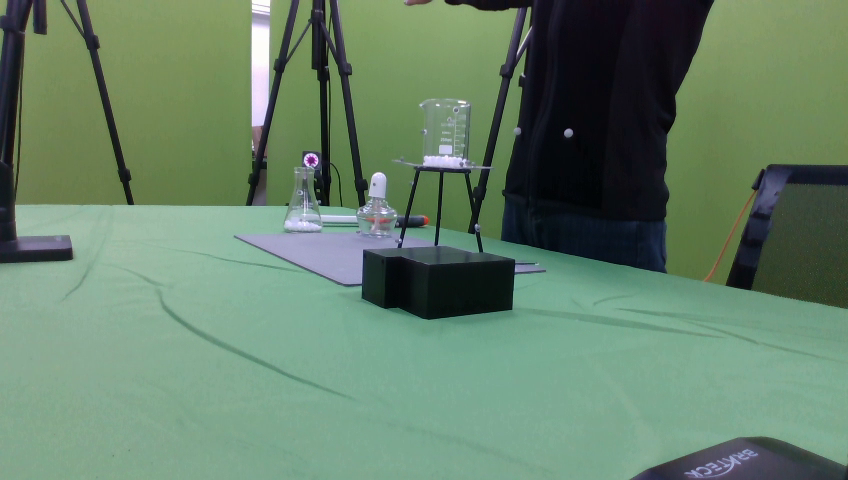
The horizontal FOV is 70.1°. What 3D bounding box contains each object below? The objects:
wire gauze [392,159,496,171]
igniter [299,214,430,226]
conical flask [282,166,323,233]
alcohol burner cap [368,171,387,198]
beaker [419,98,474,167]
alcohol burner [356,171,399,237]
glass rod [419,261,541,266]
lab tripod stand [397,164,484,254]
[{"bbox_3d":[0.032,-0.114,0.923,0.124,0.011,0.122,5,5,32],"label":"wire gauze"},{"bbox_3d":[-0.123,-0.044,1.281,0.278,0.025,0.057,0,-2,-19],"label":"igniter"},{"bbox_3d":[-0.225,-0.076,1.129,0.075,0.122,0.075,2,8,0],"label":"conical flask"},{"bbox_3d":[-0.083,-0.100,1.088,0.034,0.048,0.034,6,3,0],"label":"alcohol burner cap"},{"bbox_3d":[0.032,-0.161,0.913,0.084,0.100,0.074,1,7,-10],"label":"beaker"},{"bbox_3d":[-0.084,-0.064,1.092,0.078,0.119,0.078,2,10,0],"label":"alcohol burner"},{"bbox_3d":[0.080,0.031,0.808,0.201,0.008,0.008,1,6,-32],"label":"glass rod"},{"bbox_3d":[0.029,-0.049,0.930,0.148,0.131,0.148,4,7,0],"label":"lab tripod stand"}]
